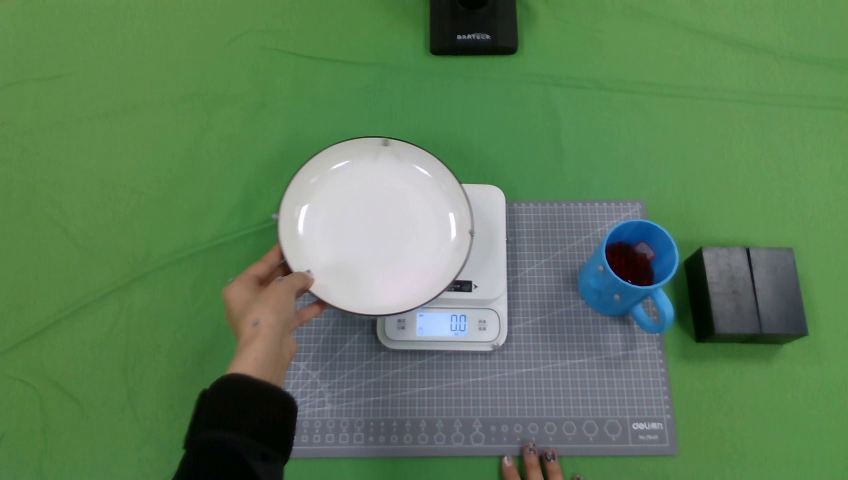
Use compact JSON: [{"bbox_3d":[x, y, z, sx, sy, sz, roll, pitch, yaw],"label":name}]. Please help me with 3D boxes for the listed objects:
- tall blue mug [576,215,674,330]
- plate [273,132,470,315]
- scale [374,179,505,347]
[{"bbox_3d":[0.228,0.037,0.661,0.107,0.108,0.077,35,73,12],"label":"tall blue mug"},{"bbox_3d":[-0.055,-0.017,0.657,0.209,0.038,0.207,2,70,-5],"label":"plate"},{"bbox_3d":[0.019,0.023,0.707,0.149,0.032,0.199,1,71,1],"label":"scale"}]
